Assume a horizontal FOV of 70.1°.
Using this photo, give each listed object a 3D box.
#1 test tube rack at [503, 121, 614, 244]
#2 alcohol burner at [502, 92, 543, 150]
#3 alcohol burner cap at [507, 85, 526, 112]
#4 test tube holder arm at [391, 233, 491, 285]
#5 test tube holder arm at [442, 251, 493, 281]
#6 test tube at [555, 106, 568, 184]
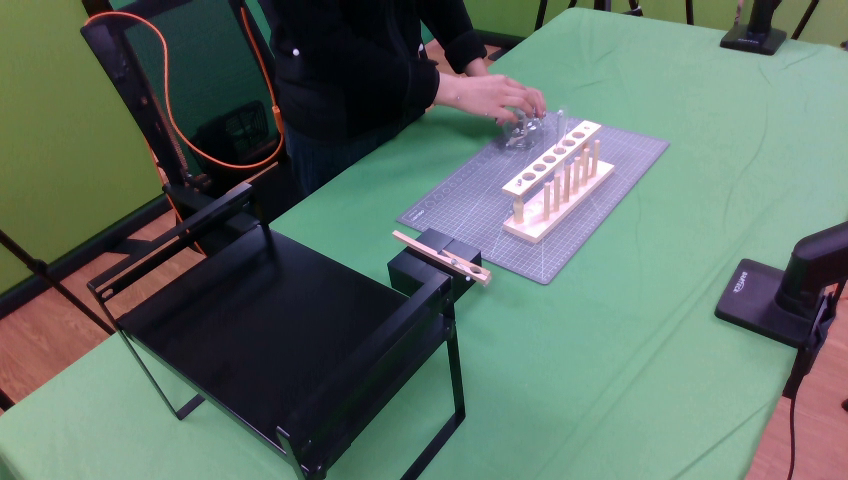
[{"bbox_3d":[0.230,-0.101,1.006,0.066,0.085,0.243,26,51,34],"label":"test tube rack"},{"bbox_3d":[0.186,-0.233,1.147,0.078,0.119,0.077,-5,41,5],"label":"alcohol burner"},{"bbox_3d":[0.173,-0.264,1.123,0.034,0.048,0.033,3,25,-1],"label":"alcohol burner cap"},{"bbox_3d":[0.020,0.025,0.872,0.177,0.015,0.013,22,56,32],"label":"test tube holder arm"},{"bbox_3d":[0.059,0.036,0.851,0.087,0.015,0.010,23,56,32],"label":"test tube holder arm"},{"bbox_3d":[0.224,-0.151,0.987,0.017,0.151,0.017,-4,43,4],"label":"test tube"}]
